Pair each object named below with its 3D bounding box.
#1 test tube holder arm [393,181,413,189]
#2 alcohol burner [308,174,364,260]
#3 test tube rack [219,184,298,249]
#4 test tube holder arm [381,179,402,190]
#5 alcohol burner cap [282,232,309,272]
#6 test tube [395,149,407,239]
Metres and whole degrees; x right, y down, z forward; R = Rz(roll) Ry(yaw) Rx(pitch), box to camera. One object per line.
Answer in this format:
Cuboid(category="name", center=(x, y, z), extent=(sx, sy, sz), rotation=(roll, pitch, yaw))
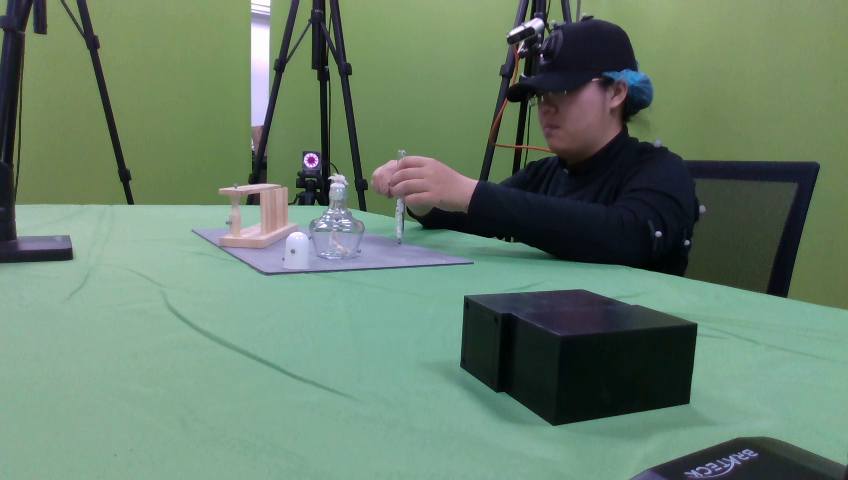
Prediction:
Cuboid(category="test tube holder arm", center=(-0.040, -0.094, 1.029), extent=(0.010, 0.015, 0.087), rotation=(9, 1, -24))
Cuboid(category="alcohol burner", center=(-0.121, -0.033, 0.841), extent=(0.078, 0.119, 0.078), rotation=(3, 5, 0))
Cuboid(category="test tube rack", center=(-0.266, -0.046, 1.001), extent=(0.067, 0.085, 0.242), rotation=(3, 7, 0))
Cuboid(category="test tube holder arm", center=(-0.058, -0.097, 1.070), extent=(0.013, 0.015, 0.178), rotation=(10, 1, -14))
Cuboid(category="alcohol burner cap", center=(-0.157, 0.014, 0.740), extent=(0.034, 0.048, 0.034), rotation=(2, 6, 0))
Cuboid(category="test tube", center=(-0.039, -0.076, 1.006), extent=(0.017, 0.150, 0.017), rotation=(2, 4, 0))
